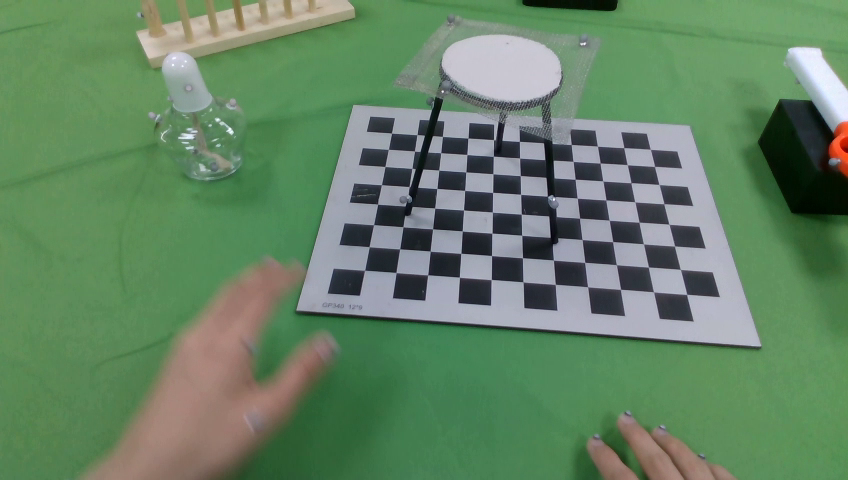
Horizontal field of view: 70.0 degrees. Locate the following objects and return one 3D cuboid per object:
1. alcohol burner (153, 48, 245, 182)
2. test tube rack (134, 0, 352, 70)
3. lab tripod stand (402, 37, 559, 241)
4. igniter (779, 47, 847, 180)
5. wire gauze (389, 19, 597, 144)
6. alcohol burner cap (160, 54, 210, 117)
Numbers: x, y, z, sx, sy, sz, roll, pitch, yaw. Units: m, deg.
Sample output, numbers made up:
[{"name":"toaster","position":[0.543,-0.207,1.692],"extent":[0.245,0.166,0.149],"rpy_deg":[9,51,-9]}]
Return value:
[{"name":"alcohol burner","position":[-0.198,-0.109,0.520],"extent":[0.078,0.120,0.077],"rpy_deg":[-1,49,1]},{"name":"test tube rack","position":[-0.208,-0.277,0.689],"extent":[0.243,0.086,0.066],"rpy_deg":[-22,53,-20]},{"name":"lab tripod stand","position":[0.056,-0.079,0.483],"extent":[0.148,0.132,0.147],"rpy_deg":[2,48,-2]},{"name":"igniter","position":[0.362,-0.087,0.512],"extent":[0.057,0.025,0.274],"rpy_deg":[2,46,5]},{"name":"wire gauze","position":[0.053,-0.122,0.431],"extent":[0.124,0.011,0.121],"rpy_deg":[18,50,12]},{"name":"alcohol burner cap","position":[-0.199,-0.129,0.497],"extent":[0.034,0.048,0.033],"rpy_deg":[-1,48,2]}]
